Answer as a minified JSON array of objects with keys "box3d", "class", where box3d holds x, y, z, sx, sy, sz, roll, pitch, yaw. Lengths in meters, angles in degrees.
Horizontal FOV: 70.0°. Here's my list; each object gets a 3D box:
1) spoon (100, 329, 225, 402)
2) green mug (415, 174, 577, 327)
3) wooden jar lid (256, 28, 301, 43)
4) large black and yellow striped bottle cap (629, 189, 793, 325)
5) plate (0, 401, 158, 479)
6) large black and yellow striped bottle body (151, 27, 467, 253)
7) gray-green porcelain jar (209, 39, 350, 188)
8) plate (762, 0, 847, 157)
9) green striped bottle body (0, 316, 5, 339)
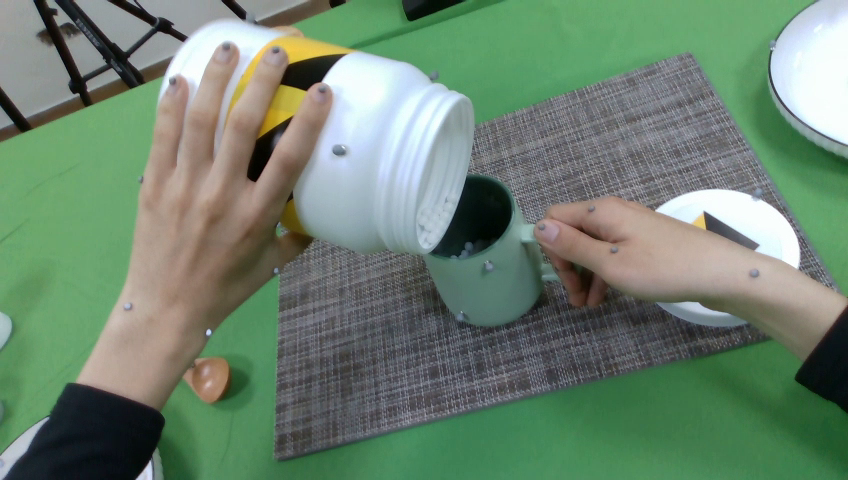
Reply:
[{"box3d":[-0.258,0.112,0.587,0.192,0.022,0.041,13,82,27],"class":"spoon"},{"box3d":[0.056,0.010,0.477,0.125,0.106,0.092,0,57,22],"class":"green mug"},{"box3d":[-0.164,-0.164,0.590,0.108,0.021,0.107,-13,52,17],"class":"wooden jar lid"},{"box3d":[0.219,0.010,0.469,0.115,0.019,0.114,-11,53,16],"class":"large black and yellow striped bottle cap"},{"box3d":[-0.311,0.242,0.510,0.209,0.038,0.207,-10,54,15],"class":"plate"},{"box3d":[-0.074,-0.066,0.423,0.183,0.132,0.130,16,64,15],"class":"large black and yellow striped bottle body"},{"box3d":[-0.144,-0.126,0.637,0.105,0.128,0.105,-12,50,14],"class":"gray-green porcelain jar"},{"box3d":[0.391,-0.137,0.494,0.207,0.039,0.205,-10,54,15],"class":"plate"},{"box3d":[-0.527,0.082,0.650,0.063,0.120,0.062,-11,54,15],"class":"green striped bottle body"}]
